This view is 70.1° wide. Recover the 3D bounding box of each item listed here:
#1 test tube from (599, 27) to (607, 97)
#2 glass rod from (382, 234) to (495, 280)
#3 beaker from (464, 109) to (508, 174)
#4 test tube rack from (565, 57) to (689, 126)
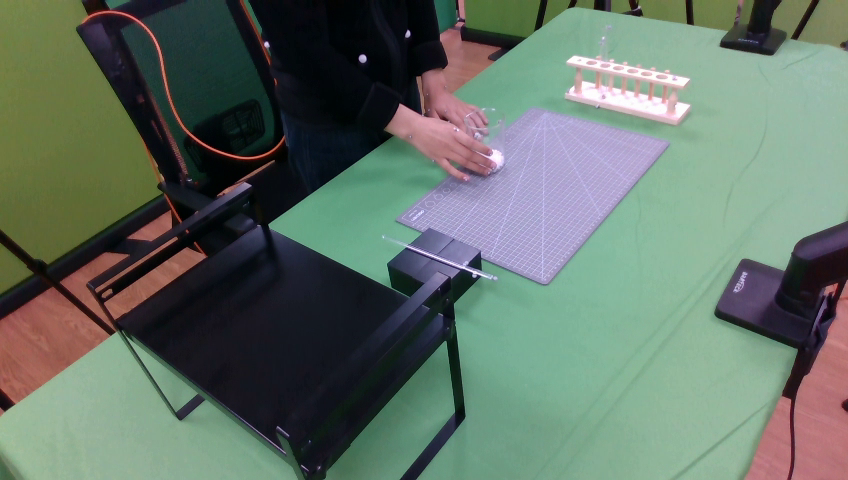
[{"bbox_3d":[0.358,-0.353,1.210,0.017,0.151,0.017,-8,43,8],"label":"test tube"},{"bbox_3d":[0.017,0.023,0.882,0.198,0.008,0.008,21,48,29],"label":"glass rod"},{"bbox_3d":[0.111,-0.179,1.106,0.083,0.100,0.074,21,47,29],"label":"beaker"},{"bbox_3d":[0.412,-0.311,1.230,0.240,0.085,0.067,24,49,32],"label":"test tube rack"}]
